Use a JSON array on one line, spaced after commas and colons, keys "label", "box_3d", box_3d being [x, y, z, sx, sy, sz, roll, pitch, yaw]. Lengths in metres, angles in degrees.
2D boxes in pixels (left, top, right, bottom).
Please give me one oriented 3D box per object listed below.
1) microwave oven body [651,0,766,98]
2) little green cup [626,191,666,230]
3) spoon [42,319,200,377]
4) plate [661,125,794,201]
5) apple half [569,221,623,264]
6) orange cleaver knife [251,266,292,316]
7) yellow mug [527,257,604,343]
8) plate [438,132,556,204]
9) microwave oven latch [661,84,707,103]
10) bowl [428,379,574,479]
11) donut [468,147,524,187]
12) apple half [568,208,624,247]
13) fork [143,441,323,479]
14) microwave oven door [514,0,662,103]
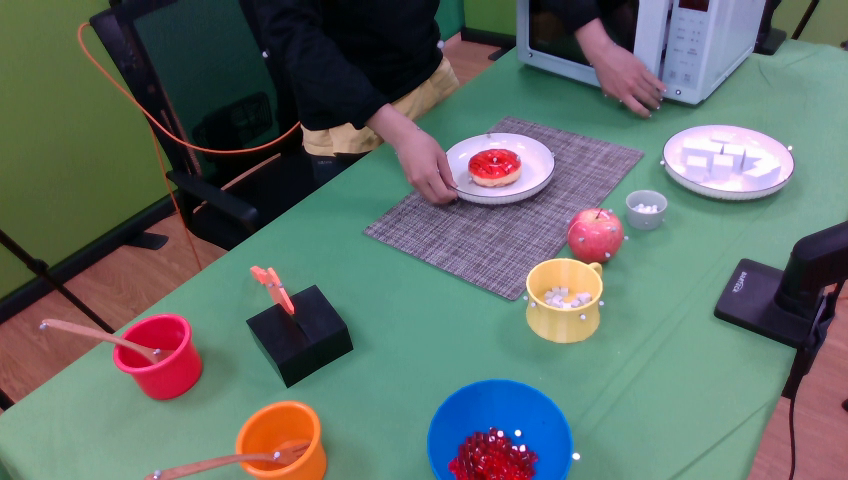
[{"label": "microwave oven body", "box_3d": [0.472, -0.513, 1.317, 0.438, 0.261, 0.327, 26, 51, 34]}, {"label": "little green cup", "box_3d": [0.352, -0.046, 0.963, 0.061, 0.039, 0.061, -4, 40, 4]}, {"label": "spoon", "box_3d": [-0.385, 0.135, 0.779, 0.195, 0.021, 0.041, 29, 37, -26]}, {"label": "plate", "box_3d": [0.513, -0.128, 1.035, 0.207, 0.039, 0.206, -4, 40, 4]}, {"label": "apple half", "box_3d": [0.251, 0.010, 0.884, 0.081, 0.081, 0.032, 3, 37, 12]}, {"label": "orange cleaver knife", "box_3d": [-0.221, 0.071, 0.873, 0.012, 0.077, 0.210, -25, 11, -21]}, {"label": "yellow mug", "box_3d": [0.201, 0.072, 0.825, 0.131, 0.064, 0.099, -32, 46, -27]}, {"label": "plate", "box_3d": [0.130, -0.125, 1.084, 0.209, 0.038, 0.208, -4, 40, 4]}, {"label": "microwave oven latch", "box_3d": [0.516, -0.296, 1.204, 0.078, 0.029, 0.030, 25, 50, 33]}, {"label": "bowl", "box_3d": [0.082, 0.233, 0.644, 0.151, 0.077, 0.150, -4, 39, 4]}, {"label": "donut", "box_3d": [0.128, -0.132, 1.075, 0.099, 0.048, 0.098, -6, 39, 5]}, {"label": "apple half", "box_3d": [0.259, -0.014, 0.914, 0.080, 0.075, 0.053, 0, 36, 15]}, {"label": "fork", "box_3d": [-0.189, 0.231, 0.631, 0.028, 0.018, 0.209, 35, 13, 37]}, {"label": "microwave oven door", "box_3d": [0.330, -0.445, 1.250, 0.039, 0.245, 0.352, -35, 47, -28]}]
